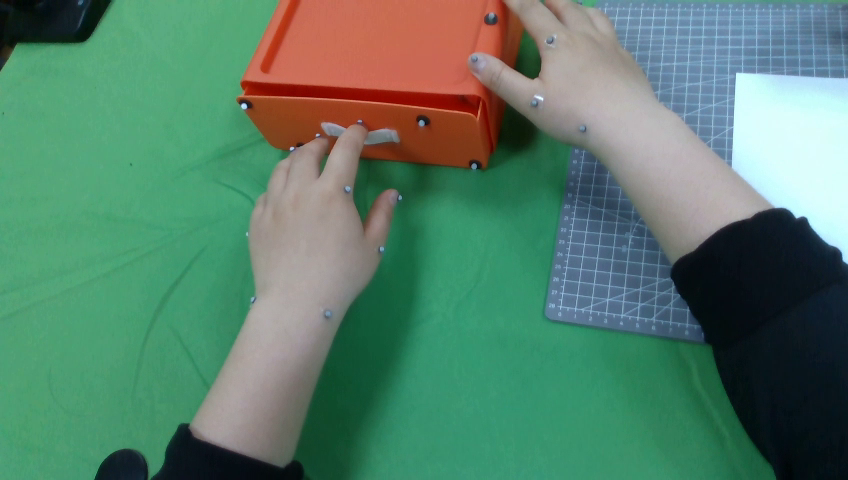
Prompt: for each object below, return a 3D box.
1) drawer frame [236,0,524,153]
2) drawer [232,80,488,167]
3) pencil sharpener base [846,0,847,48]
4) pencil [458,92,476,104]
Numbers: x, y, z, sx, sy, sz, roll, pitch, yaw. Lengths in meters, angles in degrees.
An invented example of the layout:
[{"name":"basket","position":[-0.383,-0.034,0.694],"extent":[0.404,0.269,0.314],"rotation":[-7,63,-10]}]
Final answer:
[{"name":"drawer frame","position":[-0.025,-0.186,0.516],"extent":[0.201,0.083,0.212],"rotation":[6,65,17]},{"name":"drawer","position":[-0.028,-0.172,0.511],"extent":[0.194,0.074,0.210],"rotation":[7,65,17]},{"name":"pencil sharpener base","position":[0.343,-0.186,0.413],"extent":[0.076,0.108,0.061],"rotation":[8,66,18]},{"name":"pencil","position":[-0.020,-0.163,0.539],"extent":[0.012,0.012,0.192],"rotation":[-45,58,-11]}]
